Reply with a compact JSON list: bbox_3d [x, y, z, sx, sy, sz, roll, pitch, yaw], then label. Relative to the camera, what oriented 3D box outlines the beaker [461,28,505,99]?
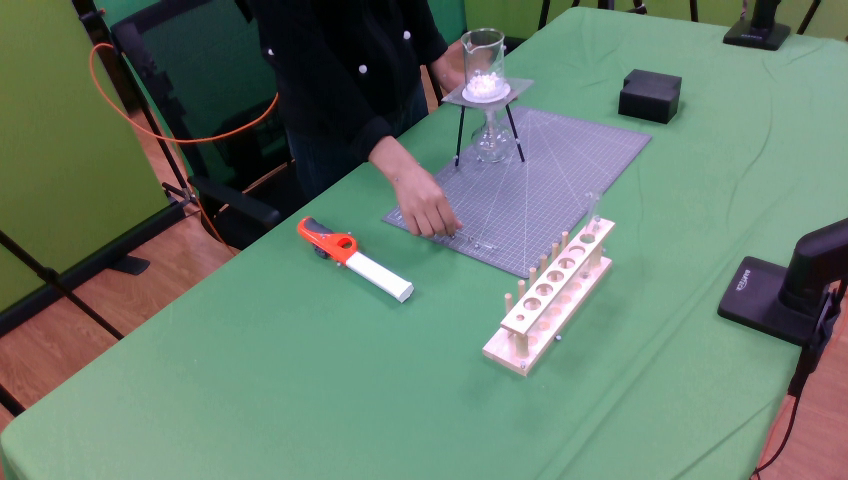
[{"bbox_3d":[0.103,-0.304,1.051,0.073,0.101,0.084,19,48,29],"label":"beaker"}]

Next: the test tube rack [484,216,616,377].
[{"bbox_3d":[0.174,0.065,0.823,0.066,0.085,0.243,23,49,33],"label":"test tube rack"}]

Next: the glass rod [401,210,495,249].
[{"bbox_3d":[0.035,-0.018,1.001,0.198,0.008,0.008,22,50,35],"label":"glass rod"}]

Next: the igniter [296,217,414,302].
[{"bbox_3d":[-0.121,0.025,0.970,0.274,0.025,0.057,29,63,37],"label":"igniter"}]

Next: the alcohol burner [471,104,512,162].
[{"bbox_3d":[0.125,-0.207,1.126,0.078,0.119,0.077,-5,43,5],"label":"alcohol burner"}]

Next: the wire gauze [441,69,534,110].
[{"bbox_3d":[0.114,-0.268,1.082,0.120,0.011,0.125,22,47,29],"label":"wire gauze"}]

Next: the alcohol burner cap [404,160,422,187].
[{"bbox_3d":[-0.022,-0.125,1.118,0.034,0.048,0.033,-5,40,5],"label":"alcohol burner cap"}]

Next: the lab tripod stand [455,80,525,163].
[{"bbox_3d":[0.120,-0.220,1.126,0.148,0.132,0.147,-4,39,4],"label":"lab tripod stand"}]

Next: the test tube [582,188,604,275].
[{"bbox_3d":[0.228,-0.007,0.821,0.017,0.151,0.017,-3,42,3],"label":"test tube"}]
